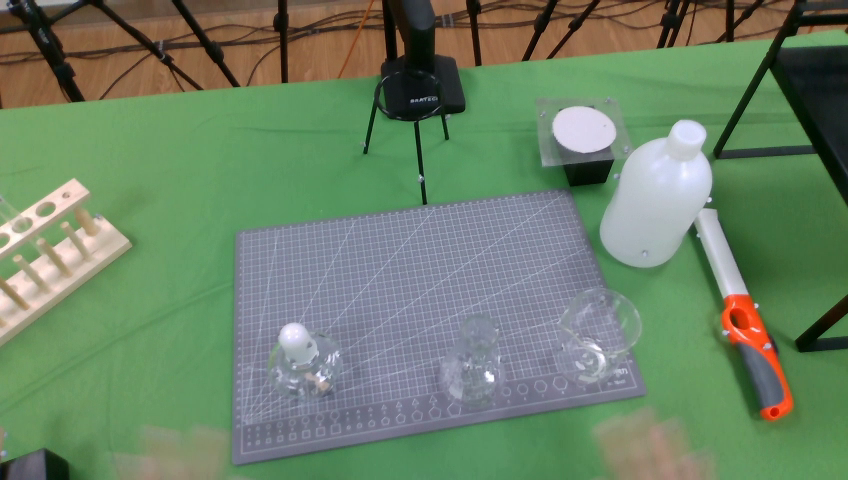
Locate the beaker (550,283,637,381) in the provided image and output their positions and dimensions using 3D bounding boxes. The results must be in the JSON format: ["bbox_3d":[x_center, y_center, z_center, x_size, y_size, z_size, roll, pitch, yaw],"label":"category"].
[{"bbox_3d":[0.175,0.103,0.653,0.084,0.101,0.073,-3,56,-1],"label":"beaker"}]

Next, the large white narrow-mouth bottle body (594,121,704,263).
[{"bbox_3d":[0.268,-0.061,0.709,0.102,0.196,0.101,0,56,0],"label":"large white narrow-mouth bottle body"}]

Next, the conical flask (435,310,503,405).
[{"bbox_3d":[0.049,0.117,0.629,0.075,0.123,0.074,0,56,1],"label":"conical flask"}]

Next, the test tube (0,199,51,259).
[{"bbox_3d":[-0.463,-0.020,0.681,0.017,0.151,0.017,1,58,-1],"label":"test tube"}]

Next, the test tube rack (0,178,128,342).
[{"bbox_3d":[-0.480,0.042,0.699,0.066,0.086,0.242,35,63,21],"label":"test tube rack"}]

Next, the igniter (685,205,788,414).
[{"bbox_3d":[0.366,0.071,0.722,0.057,0.025,0.273,2,56,-11],"label":"igniter"}]

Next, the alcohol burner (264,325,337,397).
[{"bbox_3d":[-0.131,0.118,0.632,0.078,0.120,0.077,1,55,-1],"label":"alcohol burner"}]

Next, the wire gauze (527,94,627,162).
[{"bbox_3d":[0.206,-0.156,0.825,0.121,0.011,0.124,-2,56,-1],"label":"wire gauze"}]

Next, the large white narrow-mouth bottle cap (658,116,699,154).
[{"bbox_3d":[0.267,-0.111,0.638,0.038,0.024,0.037,0,56,0],"label":"large white narrow-mouth bottle cap"}]

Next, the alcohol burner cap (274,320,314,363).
[{"bbox_3d":[-0.131,0.099,0.601,0.034,0.048,0.033,-3,57,4],"label":"alcohol burner cap"}]

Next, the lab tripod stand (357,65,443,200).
[{"bbox_3d":[-0.023,-0.147,0.801,0.148,0.132,0.147,1,57,-2],"label":"lab tripod stand"}]
